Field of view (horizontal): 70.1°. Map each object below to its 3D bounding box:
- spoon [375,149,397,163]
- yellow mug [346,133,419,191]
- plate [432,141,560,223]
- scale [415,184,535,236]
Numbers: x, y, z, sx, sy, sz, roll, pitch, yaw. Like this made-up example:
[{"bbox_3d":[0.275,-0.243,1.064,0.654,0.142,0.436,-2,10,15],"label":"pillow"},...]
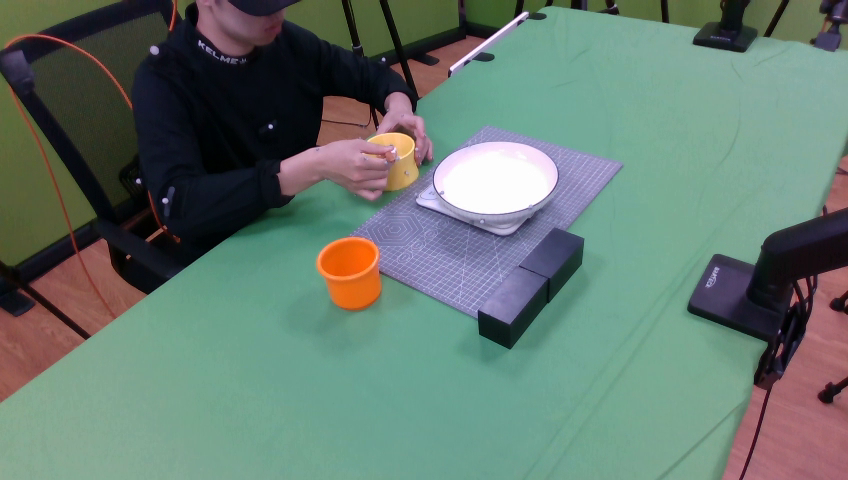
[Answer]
[{"bbox_3d":[-0.063,-0.144,1.034,0.042,0.021,0.193,-5,9,-4],"label":"spoon"},{"bbox_3d":[-0.079,-0.142,1.115,0.131,0.064,0.099,-6,39,3],"label":"yellow mug"},{"bbox_3d":[0.118,-0.094,0.999,0.209,0.038,0.208,-4,41,4],"label":"plate"},{"bbox_3d":[0.099,-0.080,1.035,0.199,0.032,0.149,23,48,31],"label":"scale"}]
